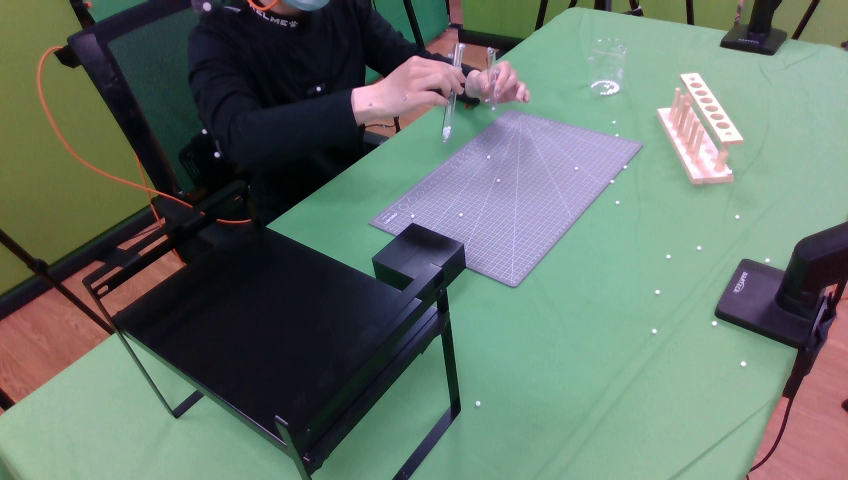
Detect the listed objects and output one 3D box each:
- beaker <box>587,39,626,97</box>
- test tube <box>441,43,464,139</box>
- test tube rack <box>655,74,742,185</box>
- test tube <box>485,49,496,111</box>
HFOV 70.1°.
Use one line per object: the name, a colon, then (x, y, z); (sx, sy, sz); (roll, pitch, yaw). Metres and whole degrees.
beaker: (0.386, -0.361, 1.280); (0.074, 0.101, 0.083); (-22, 43, -15)
test tube: (0.045, -0.238, 0.970); (0.017, 0.150, 0.017); (8, 14, -2)
test tube rack: (0.488, -0.205, 1.093); (0.067, 0.085, 0.241); (-3, 41, 5)
test tube: (0.123, -0.290, 1.109); (0.017, 0.151, 0.017); (-3, 61, 6)
